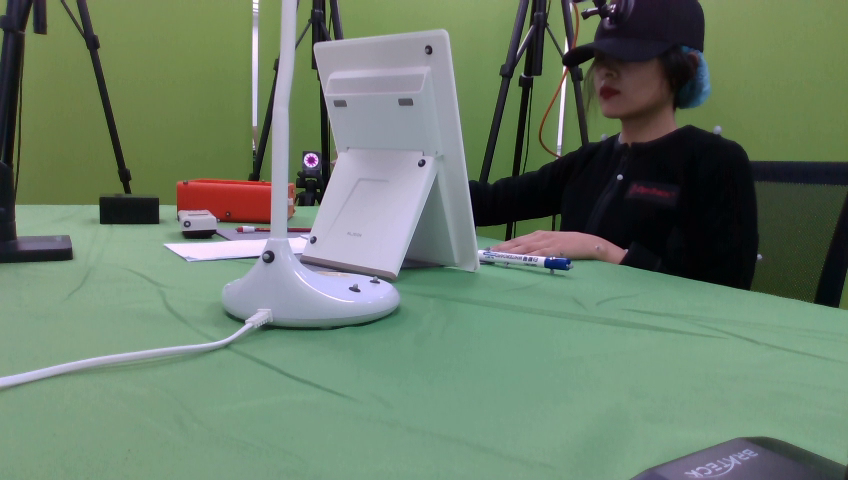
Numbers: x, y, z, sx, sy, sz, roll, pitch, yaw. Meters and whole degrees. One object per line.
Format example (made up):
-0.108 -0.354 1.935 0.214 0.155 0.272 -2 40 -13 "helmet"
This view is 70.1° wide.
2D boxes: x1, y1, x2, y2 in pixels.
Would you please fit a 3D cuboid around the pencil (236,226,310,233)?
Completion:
-0.239 -0.017 1.093 0.195 0.012 0.012 1 7 -27 "pencil"

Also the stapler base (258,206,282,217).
-0.331 -0.064 1.305 0.041 0.024 0.130 9 -2 -9 "stapler base"

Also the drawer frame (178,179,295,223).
-0.397 -0.088 1.315 0.214 0.082 0.201 1 8 -8 "drawer frame"

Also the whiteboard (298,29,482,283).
-0.075 -0.082 0.742 0.216 0.305 0.144 9 29 37 "whiteboard"

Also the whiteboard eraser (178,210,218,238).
-0.380 -0.027 1.014 0.056 0.042 0.112 0 8 -25 "whiteboard eraser"

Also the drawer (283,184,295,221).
-0.394 -0.086 1.317 0.212 0.073 0.194 1 8 -7 "drawer"

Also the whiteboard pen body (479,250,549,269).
0.130 0.028 0.827 0.140 0.017 0.017 7 8 38 "whiteboard pen body"

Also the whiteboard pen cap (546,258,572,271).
0.175 0.032 0.790 0.033 0.018 0.018 3 7 37 "whiteboard pen cap"

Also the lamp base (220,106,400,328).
-0.101 -0.023 0.531 0.160 0.180 0.179 4 10 10 "lamp base"

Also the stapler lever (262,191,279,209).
-0.329 -0.085 1.306 0.027 0.040 0.118 9 3 -9 "stapler lever"
